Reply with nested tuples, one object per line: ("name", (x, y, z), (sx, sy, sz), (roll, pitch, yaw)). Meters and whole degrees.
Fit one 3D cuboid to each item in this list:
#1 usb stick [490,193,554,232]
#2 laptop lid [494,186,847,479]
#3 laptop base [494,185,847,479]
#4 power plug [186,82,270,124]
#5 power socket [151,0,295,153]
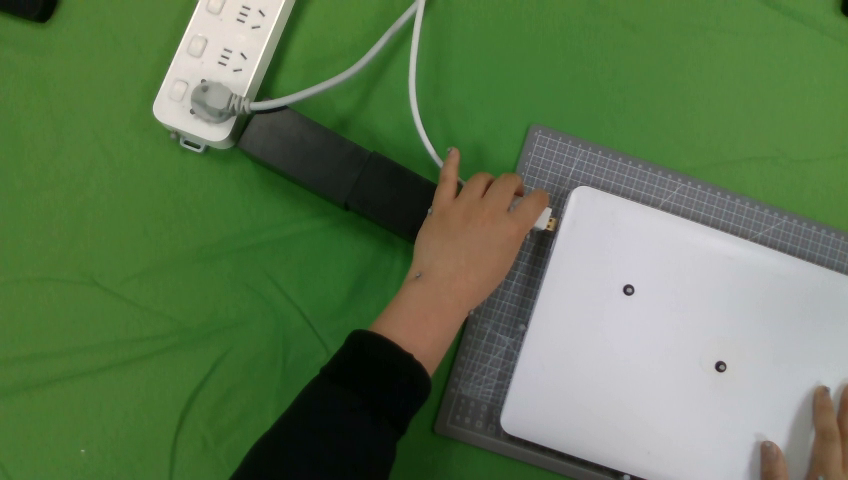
("usb stick", (0.091, -0.022, 0.545), (0.059, 0.027, 0.021), (19, 86, -9))
("laptop lid", (0.261, 0.114, 0.549), (0.357, 0.013, 0.241), (20, 88, -3))
("laptop base", (0.262, 0.113, 0.560), (0.355, 0.023, 0.235), (19, 89, -3))
("power plug", (-0.168, -0.107, 0.516), (0.072, 0.052, 0.035), (35, 82, -3))
("power socket", (-0.170, -0.186, 0.542), (0.072, 0.032, 0.226), (22, 84, -3))
